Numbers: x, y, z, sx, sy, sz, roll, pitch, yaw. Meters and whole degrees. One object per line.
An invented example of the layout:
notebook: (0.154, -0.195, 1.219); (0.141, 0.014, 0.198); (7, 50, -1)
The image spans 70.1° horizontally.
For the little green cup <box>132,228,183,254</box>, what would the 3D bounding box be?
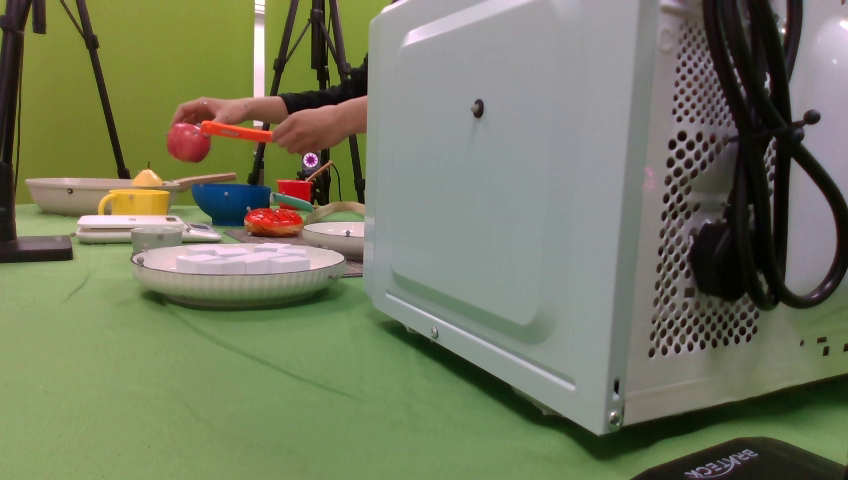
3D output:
little green cup: (-0.342, 0.006, 0.779); (0.061, 0.038, 0.061); (2, 8, 0)

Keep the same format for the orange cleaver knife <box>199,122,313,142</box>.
orange cleaver knife: (-0.317, -0.199, 1.140); (0.212, 0.012, 0.077); (5, -7, -11)

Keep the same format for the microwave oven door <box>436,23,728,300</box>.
microwave oven door: (0.180, -0.073, 0.621); (0.358, 0.243, 0.039); (-2, 9, -29)

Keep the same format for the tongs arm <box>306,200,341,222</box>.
tongs arm: (-0.234, -0.069, 1.414); (0.028, 0.028, 0.387); (-5, 7, 1)

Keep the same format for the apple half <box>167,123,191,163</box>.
apple half: (-0.480, -0.192, 1.210); (0.053, 0.074, 0.081); (5, 0, 27)

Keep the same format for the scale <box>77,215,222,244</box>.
scale: (-0.434, -0.019, 0.963); (0.202, 0.031, 0.148); (-1, 9, -27)

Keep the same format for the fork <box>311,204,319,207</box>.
fork: (-0.356, -0.105, 1.526); (0.208, 0.018, 0.028); (16, -6, -40)

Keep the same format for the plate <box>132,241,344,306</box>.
plate: (-0.187, 0.033, 0.625); (0.208, 0.039, 0.207); (2, 7, 0)

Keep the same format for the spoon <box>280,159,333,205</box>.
spoon: (-0.316, -0.159, 1.640); (0.194, 0.022, 0.041); (-49, 32, -20)

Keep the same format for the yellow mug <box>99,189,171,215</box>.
yellow mug: (-0.518, -0.055, 1.080); (0.099, 0.064, 0.131); (6, 9, 26)

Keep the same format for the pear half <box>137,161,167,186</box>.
pear half: (-0.602, -0.120, 1.354); (0.056, 0.110, 0.076); (3, 11, 7)

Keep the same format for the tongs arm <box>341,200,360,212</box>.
tongs arm: (-0.148, -0.070, 1.429); (0.051, 0.026, 0.383); (-3, 8, -14)

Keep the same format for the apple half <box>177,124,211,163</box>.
apple half: (-0.446, -0.189, 1.193); (0.032, 0.081, 0.081); (5, 8, 27)

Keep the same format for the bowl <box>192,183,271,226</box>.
bowl: (-0.381, -0.071, 1.202); (0.151, 0.077, 0.151); (2, 7, 0)

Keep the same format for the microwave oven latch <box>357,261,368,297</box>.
microwave oven latch: (-0.019, 0.033, 0.530); (0.079, 0.029, 0.030); (-1, 7, -26)

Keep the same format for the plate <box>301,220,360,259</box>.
plate: (-0.077, -0.002, 0.893); (0.209, 0.038, 0.209); (3, 8, 0)

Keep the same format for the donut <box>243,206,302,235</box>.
donut: (-0.261, -0.032, 1.043); (0.099, 0.048, 0.099); (4, 10, 0)

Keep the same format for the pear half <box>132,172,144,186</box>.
pear half: (-0.638, -0.113, 1.361); (0.031, 0.088, 0.070); (5, 11, 4)

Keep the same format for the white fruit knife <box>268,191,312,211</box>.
white fruit knife: (-0.364, -0.105, 1.464); (0.208, 0.027, 0.016); (15, 0, -34)

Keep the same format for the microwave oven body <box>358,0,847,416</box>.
microwave oven body: (0.211, -0.047, 0.474); (0.444, 0.260, 0.324); (-1, 7, -28)

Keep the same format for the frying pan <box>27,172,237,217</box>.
frying pan: (-0.624, -0.118, 1.387); (0.305, 0.102, 0.490); (8, 17, 32)
